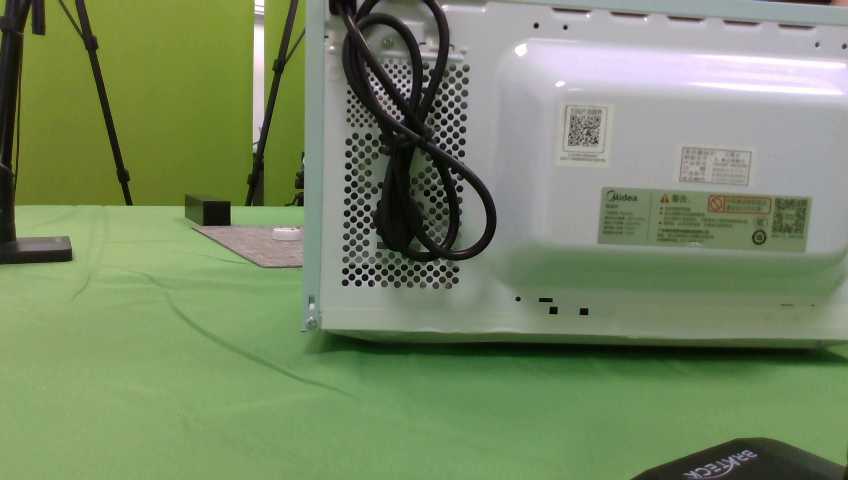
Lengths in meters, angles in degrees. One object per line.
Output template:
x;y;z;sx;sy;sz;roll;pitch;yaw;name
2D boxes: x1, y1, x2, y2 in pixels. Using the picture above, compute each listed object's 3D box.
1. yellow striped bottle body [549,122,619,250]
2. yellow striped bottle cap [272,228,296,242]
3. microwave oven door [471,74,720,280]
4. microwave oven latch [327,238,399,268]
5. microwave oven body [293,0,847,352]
0.155;-0.052;0.587;0.063;0.120;0.063;2;2;0;yellow striped bottle body
-0.232;-0.008;1.012;0.044;0.018;0.044;4;8;0;yellow striped bottle cap
0.212;-0.092;0.834;0.039;0.243;0.354;-4;10;-43;microwave oven door
-0.069;0.015;0.694;0.079;0.029;0.030;3;7;-3;microwave oven latch
0.122;-0.055;0.551;0.442;0.260;0.325;3;7;-5;microwave oven body
